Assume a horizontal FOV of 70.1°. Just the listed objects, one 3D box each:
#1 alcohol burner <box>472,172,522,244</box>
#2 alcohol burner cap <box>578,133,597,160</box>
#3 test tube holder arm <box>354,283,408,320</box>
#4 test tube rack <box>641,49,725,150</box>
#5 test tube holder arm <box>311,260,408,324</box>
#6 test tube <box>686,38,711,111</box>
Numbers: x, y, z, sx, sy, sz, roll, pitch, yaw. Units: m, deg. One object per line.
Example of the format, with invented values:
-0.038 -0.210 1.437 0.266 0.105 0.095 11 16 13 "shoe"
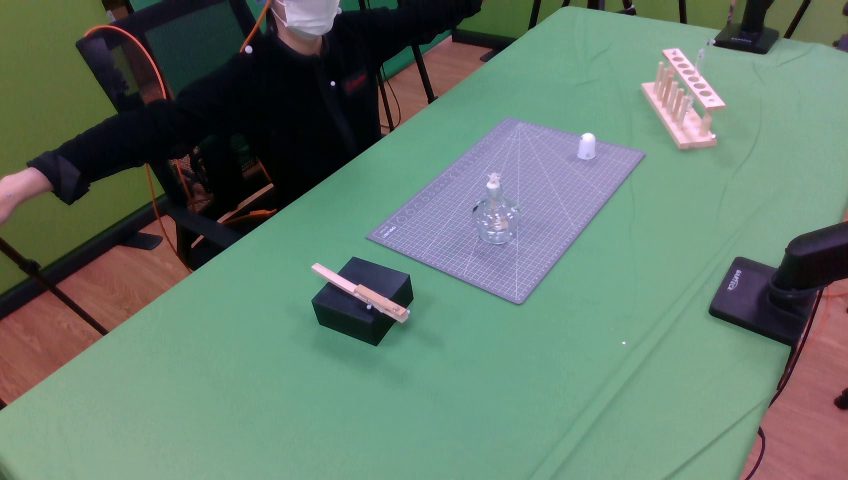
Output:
0.112 -0.053 0.942 0.078 0.119 0.077 -6 40 5 "alcohol burner"
0.301 -0.174 1.111 0.034 0.048 0.033 -5 41 4 "alcohol burner cap"
-0.059 0.081 0.805 0.087 0.010 0.015 26 52 32 "test tube holder arm"
0.495 -0.279 1.175 0.067 0.085 0.241 -5 41 3 "test tube rack"
-0.092 0.069 0.832 0.177 0.013 0.015 26 52 32 "test tube holder arm"
0.508 -0.305 1.128 0.017 0.151 0.017 -2 46 3 "test tube"
